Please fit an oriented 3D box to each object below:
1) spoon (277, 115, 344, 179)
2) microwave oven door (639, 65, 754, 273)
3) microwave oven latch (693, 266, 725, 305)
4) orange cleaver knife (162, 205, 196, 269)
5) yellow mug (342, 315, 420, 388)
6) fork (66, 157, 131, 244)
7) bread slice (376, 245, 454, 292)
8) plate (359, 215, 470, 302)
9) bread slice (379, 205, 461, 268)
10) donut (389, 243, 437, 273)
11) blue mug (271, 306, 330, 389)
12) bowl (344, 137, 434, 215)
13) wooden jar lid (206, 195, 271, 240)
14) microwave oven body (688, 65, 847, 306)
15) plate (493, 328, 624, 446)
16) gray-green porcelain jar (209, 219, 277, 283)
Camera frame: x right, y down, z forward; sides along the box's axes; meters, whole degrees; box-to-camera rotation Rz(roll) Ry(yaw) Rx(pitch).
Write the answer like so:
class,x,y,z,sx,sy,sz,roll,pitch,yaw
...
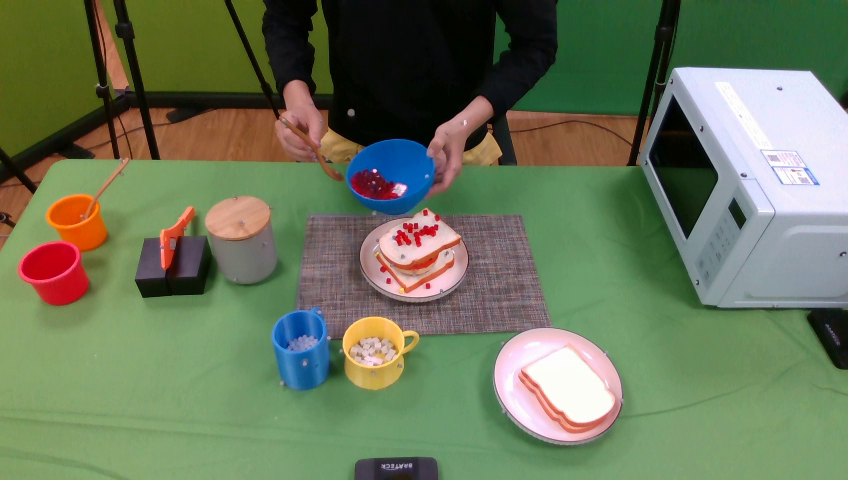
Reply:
class,x,y,z,sx,sy,sz,roll,pitch,yaw
spoon,-0.189,-0.157,1.026,0.021,0.195,0.041,-36,56,1
microwave oven door,0.522,-0.147,1.193,0.039,0.245,0.353,0,47,-3
microwave oven latch,0.523,0.081,1.115,0.030,0.029,0.078,3,46,0
orange cleaver knife,-0.454,-0.010,1.129,0.012,0.077,0.210,-2,20,-5
yellow mug,-0.068,0.177,0.990,0.131,0.064,0.099,-15,50,-20
fork,-0.608,-0.074,1.132,0.207,0.019,0.028,-52,48,10
bread slice,-0.010,0.032,1.149,0.131,0.019,0.104,-26,55,-26
plate,-0.019,0.038,1.140,0.209,0.038,0.208,2,46,-2
bread slice,-0.013,-0.002,1.097,0.134,0.018,0.106,-34,50,-22
donut,-0.023,0.018,1.120,0.099,0.048,0.098,-10,48,11
blue mug,-0.188,0.163,0.969,0.082,0.106,0.116,15,47,10
bowl,-0.053,-0.096,1.025,0.151,0.077,0.150,-5,50,6
wooden jar lid,-0.319,-0.036,1.046,0.108,0.021,0.107,1,44,0
microwave oven body,0.669,-0.111,1.176,0.326,0.261,0.439,0,46,-3
plate,0.213,0.236,0.974,0.208,0.039,0.206,2,46,-2
gray-green porcelain jar,-0.323,0.007,1.092,0.106,0.127,0.105,2,46,-2
